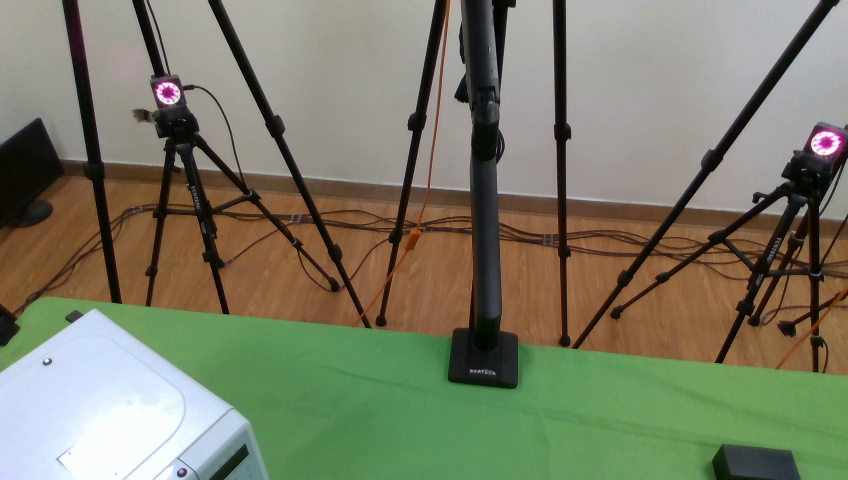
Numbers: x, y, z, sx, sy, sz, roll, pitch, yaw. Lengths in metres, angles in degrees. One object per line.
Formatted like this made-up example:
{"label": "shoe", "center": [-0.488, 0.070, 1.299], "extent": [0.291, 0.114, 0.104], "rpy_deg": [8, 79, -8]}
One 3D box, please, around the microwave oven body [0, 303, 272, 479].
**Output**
{"label": "microwave oven body", "center": [-0.456, 0.344, 0.714], "extent": [0.323, 0.262, 0.440], "rpy_deg": [26, 49, 24]}

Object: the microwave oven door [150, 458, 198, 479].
{"label": "microwave oven door", "center": [-0.360, 0.420, 0.625], "extent": [0.039, 0.246, 0.355], "rpy_deg": [25, 48, 25]}
